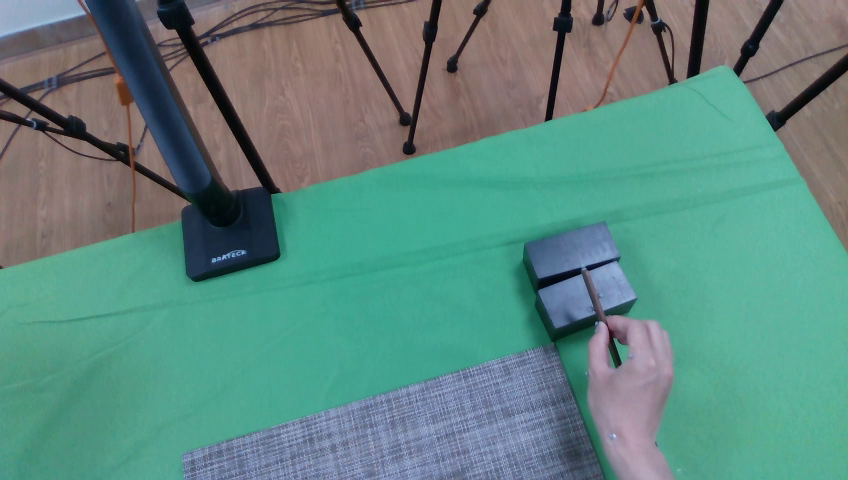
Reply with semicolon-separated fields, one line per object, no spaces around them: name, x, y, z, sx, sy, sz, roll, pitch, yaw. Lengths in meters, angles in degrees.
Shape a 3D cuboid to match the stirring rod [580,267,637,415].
stirring rod;0.197;0.109;0.645;0.006;0.014;0.177;-23;101;-6
